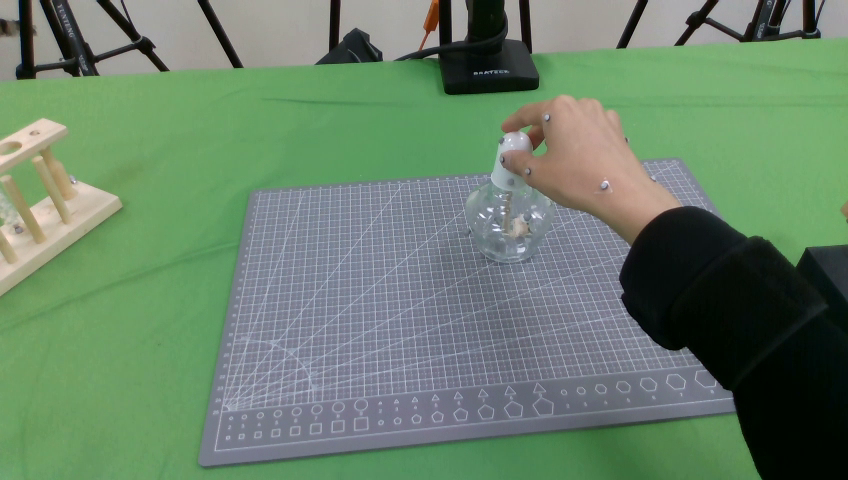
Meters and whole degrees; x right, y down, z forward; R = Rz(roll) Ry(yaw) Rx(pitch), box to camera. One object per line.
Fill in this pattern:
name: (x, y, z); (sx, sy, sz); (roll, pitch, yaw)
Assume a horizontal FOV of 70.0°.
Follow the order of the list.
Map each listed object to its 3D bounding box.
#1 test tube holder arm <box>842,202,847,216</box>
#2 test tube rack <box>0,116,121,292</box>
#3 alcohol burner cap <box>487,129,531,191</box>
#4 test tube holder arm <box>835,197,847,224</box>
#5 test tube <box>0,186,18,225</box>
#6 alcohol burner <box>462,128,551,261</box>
test tube holder arm: (0.356, 0.030, 0.435); (0.013, 0.015, 0.176); (2, 43, -7)
test tube rack: (-0.388, -0.003, 0.508); (0.066, 0.086, 0.241); (20, 47, 21)
alcohol burner cap: (0.070, -0.066, 0.488); (0.034, 0.048, 0.033); (3, 43, -3)
test tube holder arm: (0.347, -0.001, 0.466); (0.010, 0.015, 0.087); (2, 43, -7)
test tube: (-0.384, -0.073, 0.510); (0.017, 0.151, 0.017); (-2, 40, 2)
alcohol burner: (0.071, -0.041, 0.513); (0.078, 0.120, 0.077); (-1, 41, 1)
